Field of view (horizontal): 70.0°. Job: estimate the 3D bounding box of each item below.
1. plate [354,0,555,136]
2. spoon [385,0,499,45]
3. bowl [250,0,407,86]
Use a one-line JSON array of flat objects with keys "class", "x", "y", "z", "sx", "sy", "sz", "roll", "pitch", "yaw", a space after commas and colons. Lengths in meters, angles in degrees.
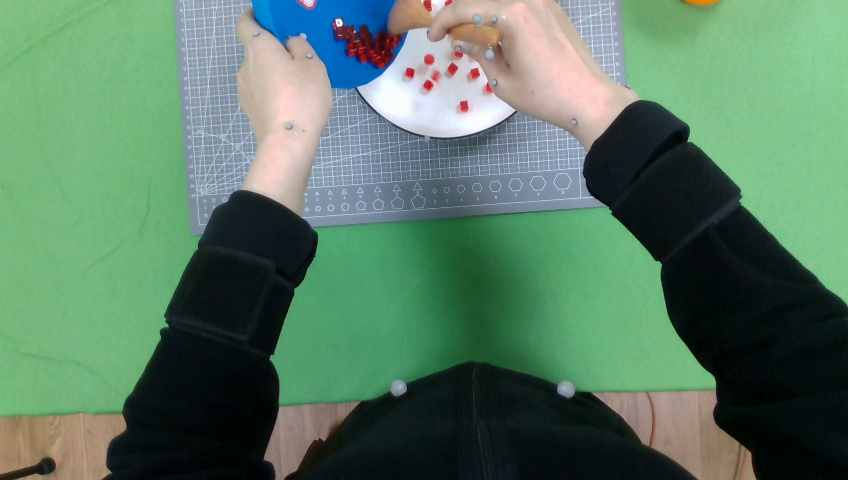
[{"class": "plate", "x": 0.022, "y": -0.205, "z": 0.593, "sx": 0.209, "sy": 0.038, "sz": 0.209, "roll": 0, "pitch": 91, "yaw": 3}, {"class": "spoon", "x": 0.010, "y": -0.165, "z": 0.452, "sx": 0.022, "sy": 0.191, "sz": 0.041, "roll": 23, "pitch": 102, "yaw": -35}, {"class": "bowl", "x": -0.089, "y": -0.209, "z": 0.501, "sx": 0.076, "sy": 0.153, "sz": 0.151, "roll": 24, "pitch": 92, "yaw": 39}]
